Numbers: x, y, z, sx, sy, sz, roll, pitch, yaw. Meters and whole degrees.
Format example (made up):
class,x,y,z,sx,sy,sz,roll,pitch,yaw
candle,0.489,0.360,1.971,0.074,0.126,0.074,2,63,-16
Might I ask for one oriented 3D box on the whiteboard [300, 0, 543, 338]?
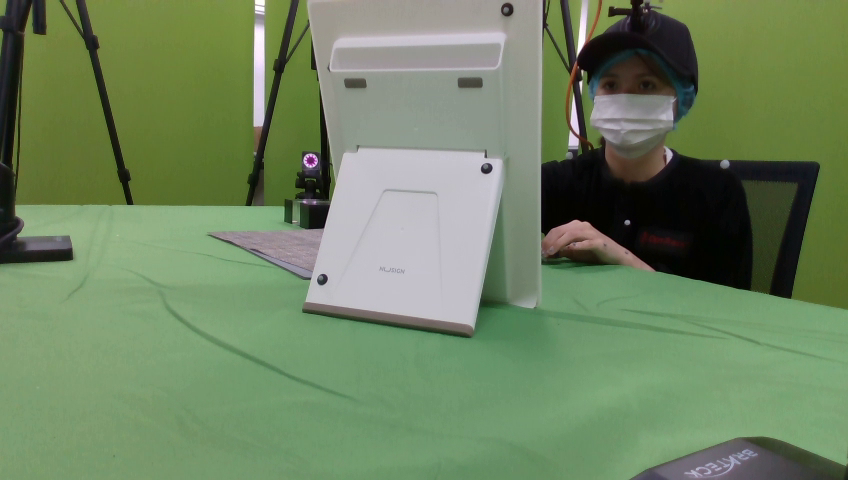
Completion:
class,x,y,z,sx,sy,sz,roll,pitch,yaw
whiteboard,-0.020,-0.050,0.523,0.216,0.305,0.144,6,27,22

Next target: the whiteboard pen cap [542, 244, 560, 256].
class,x,y,z,sx,sy,sz,roll,pitch,yaw
whiteboard pen cap,0.186,0.015,0.906,0.033,0.018,0.018,2,7,18

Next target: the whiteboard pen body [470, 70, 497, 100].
class,x,y,z,sx,sy,sz,roll,pitch,yaw
whiteboard pen body,0.059,-0.153,0.600,0.017,0.017,0.141,4,23,11
